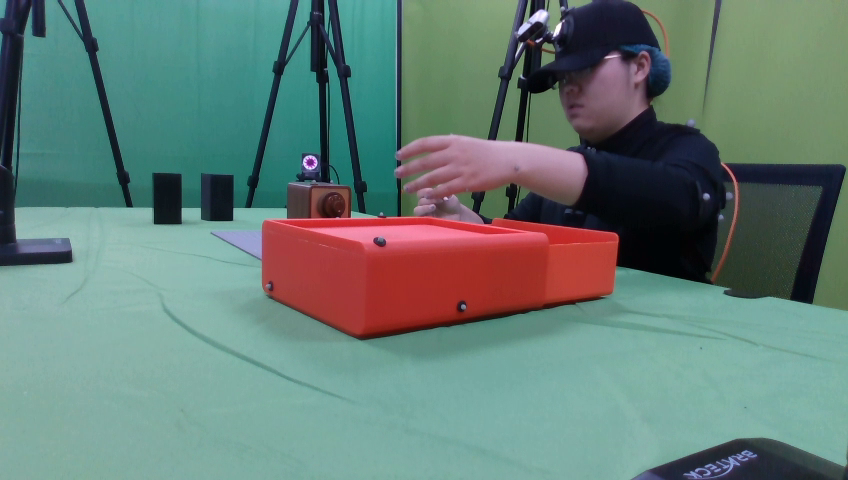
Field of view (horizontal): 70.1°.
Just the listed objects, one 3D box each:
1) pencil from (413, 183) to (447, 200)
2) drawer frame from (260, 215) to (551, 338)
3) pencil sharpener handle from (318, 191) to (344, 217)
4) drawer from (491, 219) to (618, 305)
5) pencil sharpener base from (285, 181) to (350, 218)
[{"bbox_3d":[0.011,-0.091,1.142,0.012,0.012,0.193,1,12,-18],"label":"pencil"},{"bbox_3d":[-0.021,0.023,0.595,0.215,0.082,0.200,-4,10,-38],"label":"drawer frame"},{"bbox_3d":[-0.107,-0.026,0.748,0.036,0.067,0.030,-6,11,-36],"label":"pencil sharpener handle"},{"bbox_3d":[0.071,0.021,0.670,0.213,0.073,0.193,-4,10,-39],"label":"drawer"},{"bbox_3d":[-0.139,-0.021,0.789,0.062,0.107,0.076,-2,9,-36],"label":"pencil sharpener base"}]
